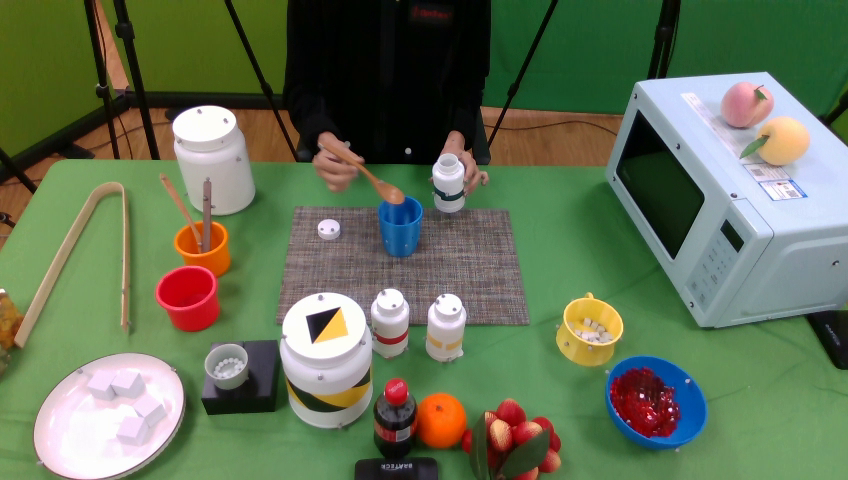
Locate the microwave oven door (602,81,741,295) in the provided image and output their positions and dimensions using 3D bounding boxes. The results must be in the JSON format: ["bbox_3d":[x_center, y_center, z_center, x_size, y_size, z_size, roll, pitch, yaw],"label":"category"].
[{"bbox_3d":[0.456,-0.107,1.162,0.039,0.245,0.353,-7,47,-11],"label":"microwave oven door"}]

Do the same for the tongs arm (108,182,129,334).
[{"bbox_3d":[-0.571,0.019,1.123,0.051,0.026,0.382,-11,47,-11],"label":"tongs arm"}]

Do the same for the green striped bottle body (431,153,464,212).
[{"bbox_3d":[0.046,-0.115,1.190,0.063,0.120,0.063,-2,52,3],"label":"green striped bottle body"}]

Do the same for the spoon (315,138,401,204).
[{"bbox_3d":[-0.110,-0.119,1.037,0.021,0.195,0.041,-23,44,32],"label":"spoon"}]

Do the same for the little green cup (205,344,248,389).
[{"bbox_3d":[-0.293,0.191,0.909,0.061,0.039,0.061,1,47,-1],"label":"little green cup"}]

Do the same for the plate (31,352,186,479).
[{"bbox_3d":[-0.459,0.262,0.898,0.209,0.038,0.208,2,46,-2],"label":"plate"}]

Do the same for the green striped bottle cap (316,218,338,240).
[{"bbox_3d":[-0.192,-0.022,1.204,0.044,0.020,0.044,2,50,-2],"label":"green striped bottle cap"}]

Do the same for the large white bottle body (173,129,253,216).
[{"bbox_3d":[-0.416,-0.154,1.199,0.131,0.185,0.130,2,46,-2],"label":"large white bottle body"}]

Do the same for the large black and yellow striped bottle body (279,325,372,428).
[{"bbox_3d":[-0.143,0.181,0.900,0.131,0.185,0.130,2,46,-2],"label":"large black and yellow striped bottle body"}]

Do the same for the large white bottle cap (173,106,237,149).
[{"bbox_3d":[-0.411,-0.212,1.138,0.115,0.018,0.114,2,47,-2],"label":"large white bottle cap"}]

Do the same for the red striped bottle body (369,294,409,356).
[{"bbox_3d":[-0.059,0.134,0.997,0.063,0.120,0.062,5,47,-5],"label":"red striped bottle body"}]

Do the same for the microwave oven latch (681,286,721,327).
[{"bbox_3d":[0.494,0.119,1.086,0.030,0.029,0.078,-5,46,-9],"label":"microwave oven latch"}]

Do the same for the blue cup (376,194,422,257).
[{"bbox_3d":[-0.047,-0.021,1.155,0.093,0.101,0.092,1,46,-1],"label":"blue cup"}]

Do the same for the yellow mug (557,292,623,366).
[{"bbox_3d":[0.285,0.145,1.051,0.100,0.064,0.130,7,45,4],"label":"yellow mug"}]

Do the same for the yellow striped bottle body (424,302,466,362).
[{"bbox_3d":[0.035,0.143,0.995,0.063,0.121,0.062,3,46,-2],"label":"yellow striped bottle body"}]

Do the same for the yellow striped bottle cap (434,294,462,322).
[{"bbox_3d":[0.038,0.107,0.958,0.044,0.019,0.044,2,45,-2],"label":"yellow striped bottle cap"}]

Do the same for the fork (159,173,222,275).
[{"bbox_3d":[-0.427,-0.029,1.104,0.028,0.018,0.207,-31,99,-30],"label":"fork"}]

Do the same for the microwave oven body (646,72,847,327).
[{"bbox_3d":[0.607,-0.089,1.164,0.326,0.261,0.438,-7,46,-10],"label":"microwave oven body"}]

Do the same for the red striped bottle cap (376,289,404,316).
[{"bbox_3d":[-0.054,0.098,0.958,0.044,0.018,0.044,0,48,1],"label":"red striped bottle cap"}]

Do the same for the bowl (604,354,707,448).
[{"bbox_3d":[0.346,0.261,0.937,0.151,0.077,0.150,2,46,-2],"label":"bowl"}]

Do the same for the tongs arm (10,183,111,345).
[{"bbox_3d":[-0.658,0.027,1.109,0.028,0.028,0.385,-2,45,2],"label":"tongs arm"}]

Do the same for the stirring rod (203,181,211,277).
[{"bbox_3d":[-0.397,-0.021,1.107,0.014,0.006,0.176,0,89,-2],"label":"stirring rod"}]

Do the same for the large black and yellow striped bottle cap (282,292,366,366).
[{"bbox_3d":[-0.138,0.121,0.841,0.115,0.019,0.114,3,47,-3],"label":"large black and yellow striped bottle cap"}]
